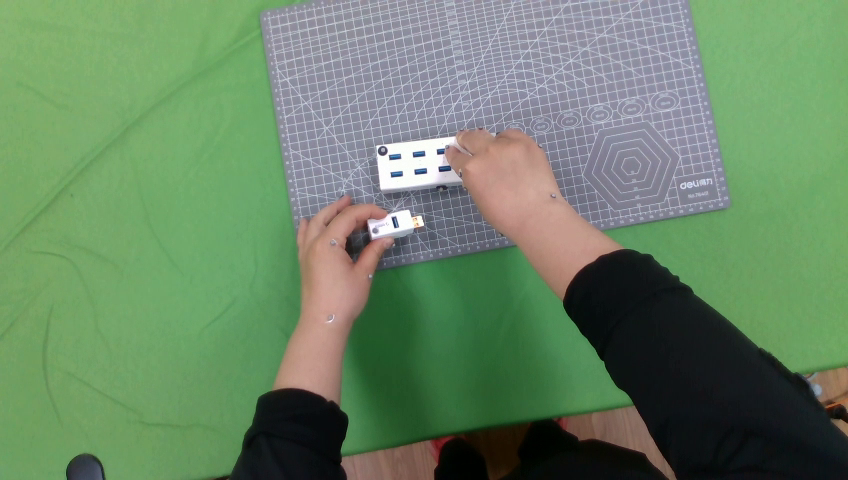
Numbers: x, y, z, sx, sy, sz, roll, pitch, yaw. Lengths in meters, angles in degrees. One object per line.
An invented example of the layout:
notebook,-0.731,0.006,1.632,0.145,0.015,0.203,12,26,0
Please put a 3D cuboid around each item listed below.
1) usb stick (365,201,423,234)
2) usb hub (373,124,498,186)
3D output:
usb stick,-0.029,-0.024,0.612,0.059,0.027,0.021,-12,79,-15
usb hub,0.012,-0.089,0.628,0.125,0.025,0.049,-6,86,3
